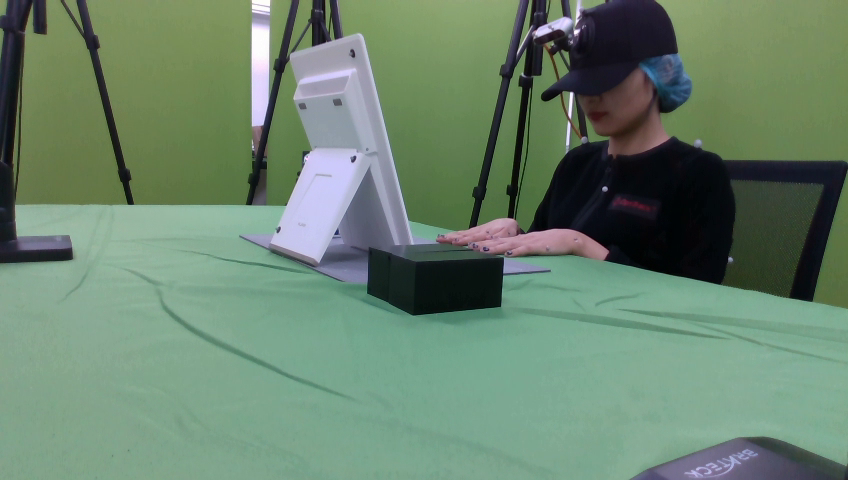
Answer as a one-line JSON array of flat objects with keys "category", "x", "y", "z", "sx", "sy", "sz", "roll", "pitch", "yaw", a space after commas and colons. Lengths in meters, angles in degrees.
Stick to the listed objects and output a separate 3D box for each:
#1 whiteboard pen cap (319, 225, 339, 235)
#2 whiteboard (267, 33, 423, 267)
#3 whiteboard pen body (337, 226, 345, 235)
[{"category": "whiteboard pen cap", "x": -0.164, "y": -0.017, "z": 1.050, "sx": 0.033, "sy": 0.018, "sz": 0.018, "roll": 1, "pitch": 6, "yaw": -34}, {"category": "whiteboard", "x": -0.153, "y": -0.097, "z": 0.819, "sx": 0.144, "sy": 0.305, "sz": 0.216, "roll": -25, "pitch": 21, "yaw": -29}, {"category": "whiteboard pen body", "x": -0.115, "y": -0.017, "z": 1.084, "sx": 0.141, "sy": 0.017, "sz": 0.017, "roll": 0, "pitch": 7, "yaw": -34}]
